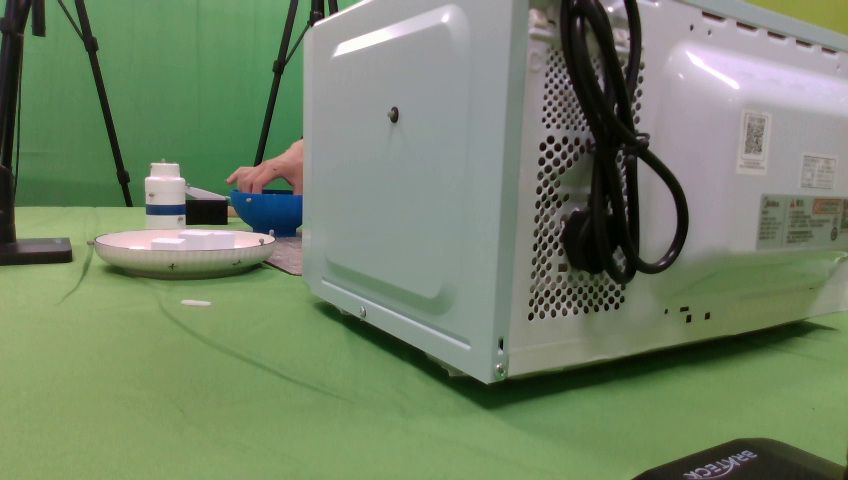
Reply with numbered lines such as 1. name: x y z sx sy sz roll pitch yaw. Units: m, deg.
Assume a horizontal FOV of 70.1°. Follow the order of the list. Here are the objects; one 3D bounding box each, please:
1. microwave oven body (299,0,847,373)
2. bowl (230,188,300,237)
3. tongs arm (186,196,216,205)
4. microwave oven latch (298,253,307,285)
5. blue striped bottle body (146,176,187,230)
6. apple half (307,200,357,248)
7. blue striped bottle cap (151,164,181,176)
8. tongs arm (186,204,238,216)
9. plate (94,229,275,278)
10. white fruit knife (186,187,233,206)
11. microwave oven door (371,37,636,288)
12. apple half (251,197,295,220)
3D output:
1. microwave oven body: 0.151 -0.055 0.542 0.444 0.260 0.324 -2 7 -33
2. bowl: -0.264 -0.048 1.065 0.151 0.077 0.151 2 8 0
3. tongs arm: -0.404 -0.081 1.479 0.385 0.026 0.050 3 8 -2
4. microwave oven latch: -0.081 0.027 0.582 0.079 0.029 0.030 -2 7 -32
5. blue striped bottle body: -0.430 -0.065 1.010 0.063 0.120 0.063 2 7 0
6. apple half: -0.135 -0.024 0.941 0.053 0.074 0.081 13 9 39
7. blue striped bottle cap: -0.428 -0.116 1.002 0.044 0.020 0.044 1 6 0
8. tongs arm: -0.396 -0.067 1.399 0.389 0.028 0.028 1 5 -15
9. plate: -0.291 0.016 0.750 0.208 0.039 0.207 2 7 0
10. white fruit knife: -0.413 -0.081 1.270 0.208 0.027 0.016 18 13 -42
11. microwave oven door: 0.109 -0.080 0.686 0.358 0.243 0.039 -2 9 -33
12. apple half: -0.264 -0.058 1.066 0.081 0.033 0.081 10 11 -2
